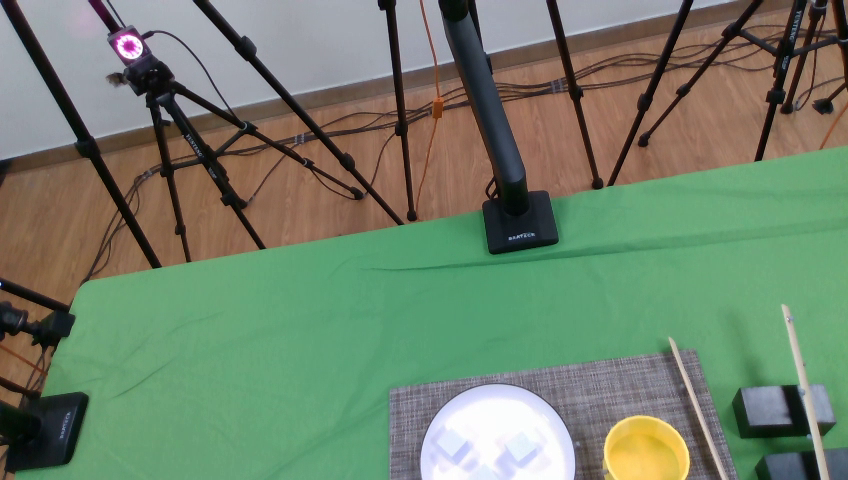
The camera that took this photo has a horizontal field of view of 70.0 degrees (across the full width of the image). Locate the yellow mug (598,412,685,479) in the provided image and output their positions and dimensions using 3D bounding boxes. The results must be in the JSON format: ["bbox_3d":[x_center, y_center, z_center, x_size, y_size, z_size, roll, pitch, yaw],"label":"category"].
[{"bbox_3d":[0.264,0.287,0.756,0.099,0.064,0.130,19,62,25],"label":"yellow mug"}]

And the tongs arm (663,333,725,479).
[{"bbox_3d":[0.375,0.284,0.750,0.028,0.028,0.383,-28,48,21],"label":"tongs arm"}]

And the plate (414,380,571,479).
[{"bbox_3d":[0.092,0.294,0.815,0.207,0.039,0.205,-7,54,10],"label":"plate"}]

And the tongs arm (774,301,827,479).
[{"bbox_3d":[0.438,0.254,0.708,0.050,0.027,0.381,-19,54,33],"label":"tongs arm"}]
